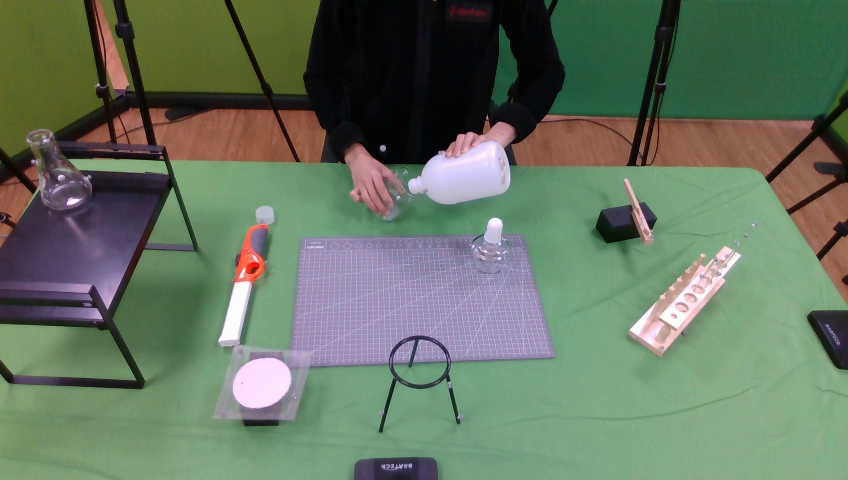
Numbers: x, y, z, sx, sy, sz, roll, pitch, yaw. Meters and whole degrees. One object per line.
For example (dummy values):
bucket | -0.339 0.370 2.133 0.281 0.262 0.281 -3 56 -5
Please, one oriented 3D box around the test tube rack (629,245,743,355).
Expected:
test tube rack | 0.474 0.095 1.091 0.242 0.085 0.066 -34 56 -31

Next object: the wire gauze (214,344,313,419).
wire gauze | -0.241 0.213 0.916 0.121 0.011 0.124 5 46 1

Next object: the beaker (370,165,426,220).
beaker | -0.053 -0.090 1.217 0.084 0.100 0.073 28 44 -27

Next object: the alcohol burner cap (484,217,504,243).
alcohol burner cap | 0.130 -0.022 1.107 0.034 0.048 0.033 4 41 -3

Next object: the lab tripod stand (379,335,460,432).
lab tripod stand | -0.011 0.214 0.911 0.148 0.132 0.147 1 45 0

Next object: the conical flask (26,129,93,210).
conical flask | -0.575 -0.113 0.946 0.075 0.122 0.075 2 46 -2

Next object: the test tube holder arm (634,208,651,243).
test tube holder arm | 0.428 -0.030 1.189 0.010 0.015 0.087 1 47 -2

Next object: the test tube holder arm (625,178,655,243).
test tube holder arm | 0.433 -0.062 1.220 0.013 0.015 0.177 0 47 -3

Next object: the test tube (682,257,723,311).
test tube | 0.475 0.080 1.037 0.017 0.151 0.017 1 50 -1

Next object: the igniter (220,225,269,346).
igniter | -0.323 0.072 1.100 0.057 0.025 0.275 -6 46 5

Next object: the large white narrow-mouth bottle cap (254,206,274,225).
large white narrow-mouth bottle cap | -0.323 -0.049 1.222 0.038 0.024 0.037 2 47 -2

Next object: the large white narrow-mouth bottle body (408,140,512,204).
large white narrow-mouth bottle body | 0.061 -0.122 1.153 0.194 0.102 0.101 -10 41 24

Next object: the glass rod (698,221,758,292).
glass rod | 0.527 0.035 1.059 0.008 0.200 0.008 5 49 -6

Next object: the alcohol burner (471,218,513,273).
alcohol burner | 0.128 0.005 1.132 0.078 0.120 0.077 0 47 0
